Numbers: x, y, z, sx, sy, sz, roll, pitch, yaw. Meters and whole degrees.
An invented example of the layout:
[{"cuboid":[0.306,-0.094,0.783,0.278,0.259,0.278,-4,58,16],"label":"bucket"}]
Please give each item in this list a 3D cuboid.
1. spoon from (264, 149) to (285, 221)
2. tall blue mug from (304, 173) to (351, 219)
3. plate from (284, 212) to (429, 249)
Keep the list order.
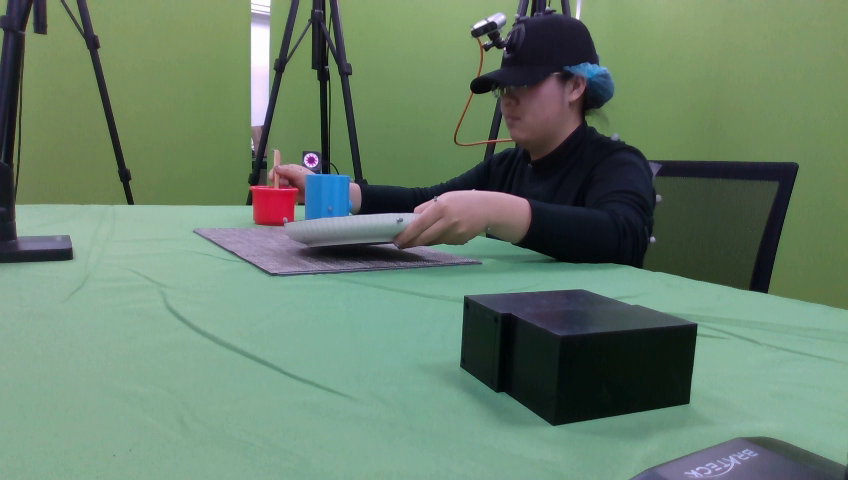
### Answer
[{"cuboid":[-0.309,-0.117,1.266,0.042,0.193,0.021,5,-32,-17],"label":"spoon"},{"cuboid":[-0.178,-0.062,1.062,0.078,0.108,0.106,-4,10,-38],"label":"tall blue mug"},{"cuboid":[-0.095,-0.011,0.874,0.208,0.039,0.207,-4,-2,0],"label":"plate"}]
